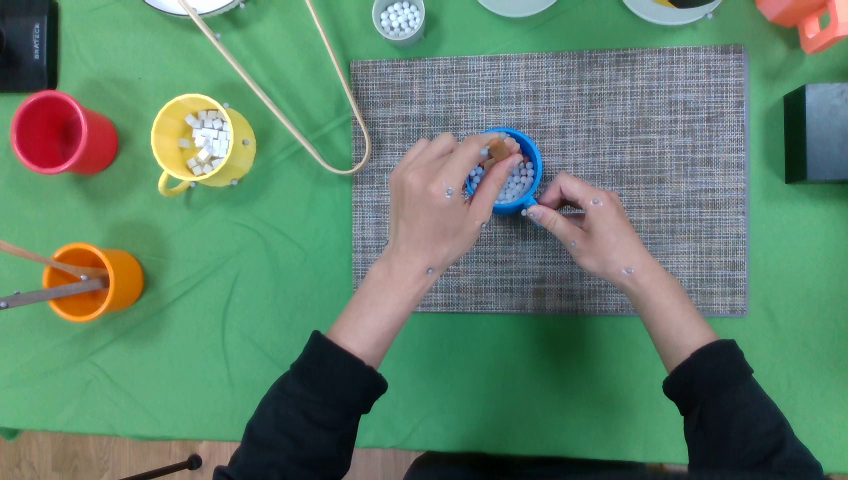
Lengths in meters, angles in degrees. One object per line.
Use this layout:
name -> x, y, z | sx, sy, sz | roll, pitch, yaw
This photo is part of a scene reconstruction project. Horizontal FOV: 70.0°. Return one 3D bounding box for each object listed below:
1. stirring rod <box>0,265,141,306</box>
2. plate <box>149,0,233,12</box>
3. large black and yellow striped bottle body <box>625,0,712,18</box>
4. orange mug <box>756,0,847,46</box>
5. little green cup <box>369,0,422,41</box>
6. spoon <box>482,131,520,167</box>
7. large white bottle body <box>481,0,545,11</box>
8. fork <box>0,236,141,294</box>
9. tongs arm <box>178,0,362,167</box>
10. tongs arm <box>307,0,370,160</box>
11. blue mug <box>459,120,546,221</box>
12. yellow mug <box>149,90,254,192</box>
stirring rod -> -0.423, 0.055, 0.703 | 0.177, 0.006, 0.014 | -14, 83, -35
plate -> -0.275, -0.376, 0.732 | 0.207, 0.039, 0.207 | 0, 91, 7
large black and yellow striped bottle body -> 0.265, -0.314, 0.598 | 0.130, 0.184, 0.130 | 0, 90, 7
orange mug -> 0.406, -0.272, 0.625 | 0.083, 0.101, 0.126 | -10, 85, 7
little green cup -> -0.031, -0.264, 0.705 | 0.061, 0.038, 0.061 | 0, 91, 7
spoon -> 0.065, -0.078, 0.520 | 0.041, 0.193, 0.021 | -27, 92, 9
large white bottle body -> 0.095, -0.330, 0.617 | 0.130, 0.185, 0.130 | 0, 90, 7
fork -> -0.433, 0.020, 0.698 | 0.209, 0.018, 0.028 | 28, 88, -38
tongs arm -> -0.214, -0.229, 0.707 | 0.051, 0.026, 0.385 | -39, 93, 2
tongs arm -> -0.144, -0.276, 0.702 | 0.028, 0.027, 0.388 | -25, 94, -2
blue mug -> 0.092, -0.066, 0.656 | 0.082, 0.106, 0.116 | -40, 86, 5
yellow mug -> -0.272, -0.109, 0.721 | 0.100, 0.064, 0.131 | 38, 96, 5
